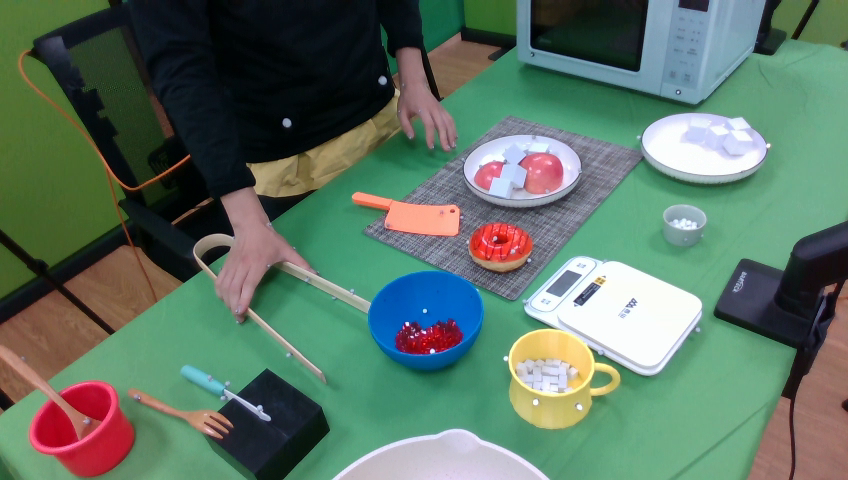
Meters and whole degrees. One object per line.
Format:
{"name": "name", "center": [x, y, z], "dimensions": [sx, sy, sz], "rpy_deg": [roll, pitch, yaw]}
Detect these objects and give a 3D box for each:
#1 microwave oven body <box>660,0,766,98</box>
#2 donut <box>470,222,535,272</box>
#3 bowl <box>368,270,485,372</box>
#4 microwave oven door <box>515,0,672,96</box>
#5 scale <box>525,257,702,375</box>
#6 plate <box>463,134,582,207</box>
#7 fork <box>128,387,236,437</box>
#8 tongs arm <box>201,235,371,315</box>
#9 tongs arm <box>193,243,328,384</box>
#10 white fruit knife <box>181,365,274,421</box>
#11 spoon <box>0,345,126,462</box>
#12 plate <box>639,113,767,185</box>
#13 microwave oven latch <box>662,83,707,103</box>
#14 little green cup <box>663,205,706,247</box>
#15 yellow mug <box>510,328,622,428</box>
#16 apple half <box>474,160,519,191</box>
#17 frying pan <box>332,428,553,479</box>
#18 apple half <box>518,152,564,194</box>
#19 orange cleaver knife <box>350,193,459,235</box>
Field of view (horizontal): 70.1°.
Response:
{"name": "microwave oven body", "center": [0.472, -0.513, 1.317], "dimensions": [0.438, 0.261, 0.327], "rpy_deg": [26, 51, 34]}
{"name": "donut", "center": [0.119, 0.009, 0.923], "dimensions": [0.099, 0.048, 0.098], "rpy_deg": [-4, 38, 3]}
{"name": "bowl", "center": [0.007, 0.118, 0.791], "dimensions": [0.151, 0.077, 0.150], "rpy_deg": [-4, 40, 4]}
{"name": "microwave oven door", "center": [0.343, -0.454, 1.259], "dimensions": [0.353, 0.245, 0.039], "rpy_deg": [26, 51, 33]}
{"name": "scale", "center": [0.254, 0.091, 0.821], "dimensions": [0.199, 0.032, 0.149], "rpy_deg": [28, 51, 35]}
{"name": "plate", "center": [0.173, -0.119, 1.070], "dimensions": [0.209, 0.038, 0.208], "rpy_deg": [-4, 40, 4]}
{"name": "fork", "center": [-0.305, 0.207, 0.744], "dimensions": [0.206, 0.019, 0.028], "rpy_deg": [3, 41, 36]}
{"name": "tongs arm", "center": [-0.209, 0.061, 0.925], "dimensions": [0.381, 0.026, 0.051], "rpy_deg": [23, 51, 33]}
{"name": "tongs arm", "center": [-0.253, 0.098, 0.889], "dimensions": [0.028, 0.028, 0.384], "rpy_deg": [-39, 47, -24]}
{"name": "white fruit knife", "center": [-0.245, 0.187, 0.747], "dimensions": [0.205, 0.027, 0.016], "rpy_deg": [9, 41, 40]}
{"name": "spoon", "center": [-0.434, 0.192, 0.720], "dimensions": [0.194, 0.021, 0.042], "rpy_deg": [47, 53, -7]}
{"name": "plate", "center": [0.489, -0.157, 1.074], "dimensions": [0.207, 0.039, 0.206], "rpy_deg": [-4, 40, 4]}
{"name": "microwave oven latch", "center": [0.517, -0.296, 1.204], "dimensions": [0.078, 0.029, 0.030], "rpy_deg": [27, 52, 35]}
{"name": "little green cup", "center": [0.396, -0.020, 0.926], "dimensions": [0.061, 0.039, 0.061], "rpy_deg": [-4, 40, 4]}
{"name": "yellow mug", "center": [0.169, 0.164, 0.722], "dimensions": [0.130, 0.064, 0.099], "rpy_deg": [0, 40, 8]}
{"name": "apple half", "center": [0.130, -0.120, 1.068], "dimensions": [0.081, 0.033, 0.081], "rpy_deg": [-3, 36, 3]}
{"name": "frying pan", "center": [-0.089, 0.306, 0.564], "dimensions": [0.487, 0.103, 0.306], "rpy_deg": [10, 41, 7]}
{"name": "apple half", "center": [0.204, -0.124, 1.048], "dimensions": [0.075, 0.053, 0.080], "rpy_deg": [-7, 41, -3]}
{"name": "orange cleaver knife", "center": [-0.036, -0.044, 1.028], "dimensions": [0.210, 0.012, 0.077], "rpy_deg": [10, 48, 18]}
